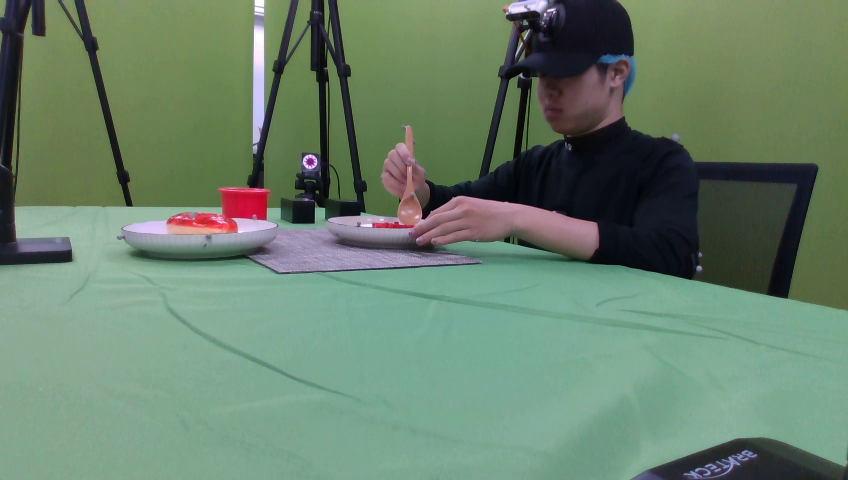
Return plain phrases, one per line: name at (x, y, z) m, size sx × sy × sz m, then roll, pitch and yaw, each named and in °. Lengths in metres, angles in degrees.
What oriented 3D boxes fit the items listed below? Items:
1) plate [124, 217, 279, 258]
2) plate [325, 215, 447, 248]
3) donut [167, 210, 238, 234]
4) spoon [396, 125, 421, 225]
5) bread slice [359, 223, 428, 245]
plate at (-0.315, -0.004, 0.871) m, size 0.208 × 0.039 × 0.207 m, roll 1°, pitch 8°, yaw 0°
plate at (-0.065, -0.015, 1.034) m, size 0.209 × 0.038 × 0.209 m, roll 3°, pitch 8°, yaw 0°
donut at (-0.321, -0.017, 0.882) m, size 0.099 × 0.048 × 0.099 m, roll 3°, pitch 6°, yaw 0°
spoon at (-0.025, -0.112, 1.019) m, size 0.041 × 0.193 × 0.021 m, roll 0°, pitch -19°, yaw -1°
bread slice at (-0.062, -0.011, 1.035) m, size 0.105 × 0.019 × 0.131 m, roll 1°, pitch 11°, yaw -19°
